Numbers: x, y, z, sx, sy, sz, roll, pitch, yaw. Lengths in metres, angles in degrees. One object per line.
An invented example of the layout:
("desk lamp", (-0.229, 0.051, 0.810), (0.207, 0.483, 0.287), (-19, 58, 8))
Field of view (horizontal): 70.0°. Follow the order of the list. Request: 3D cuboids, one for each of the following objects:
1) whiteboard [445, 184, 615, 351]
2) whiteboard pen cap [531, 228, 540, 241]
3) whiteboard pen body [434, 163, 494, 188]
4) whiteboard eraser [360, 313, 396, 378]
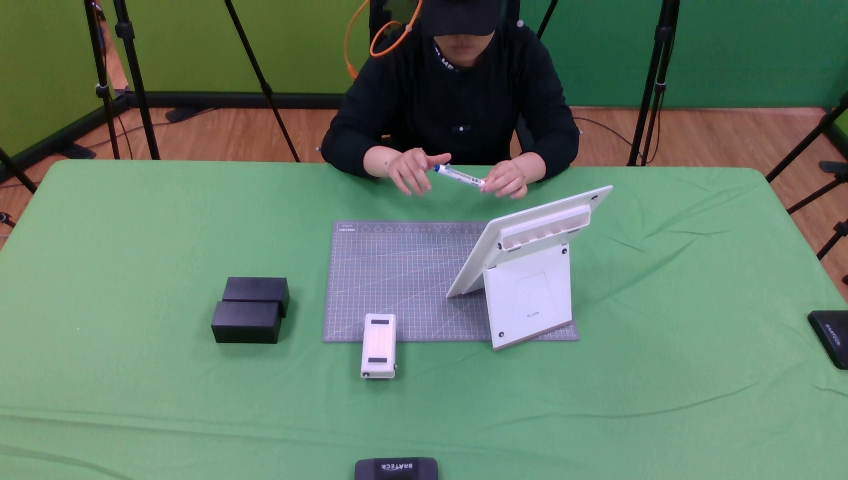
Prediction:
("whiteboard", (0.186, 0.065, 0.989), (0.217, 0.306, 0.143), (-15, 68, -18))
("whiteboard pen cap", (0.225, -0.012, 1.221), (0.018, 0.018, 0.033), (13, 30, 9))
("whiteboard pen body", (0.079, -0.122, 1.167), (0.141, 0.017, 0.017), (16, 39, -30))
("whiteboard eraser", (-0.075, 0.176, 1.006), (0.055, 0.042, 0.112), (3, 50, -4))
